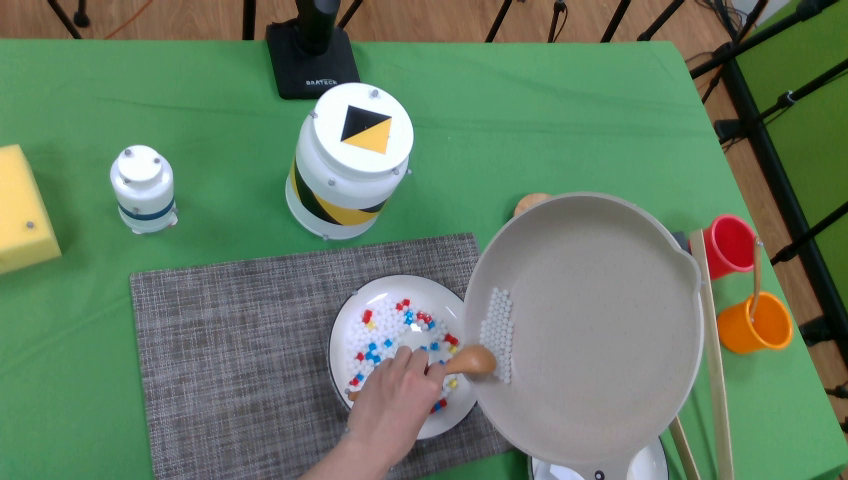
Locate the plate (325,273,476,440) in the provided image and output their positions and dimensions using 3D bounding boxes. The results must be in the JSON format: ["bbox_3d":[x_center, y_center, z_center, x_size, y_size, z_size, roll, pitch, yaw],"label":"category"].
[{"bbox_3d":[-0.023,0.144,0.762,0.210,0.038,0.207,8,67,-18],"label":"plate"}]

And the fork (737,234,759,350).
[{"bbox_3d":[0.499,0.082,0.927,0.028,0.018,0.209,-22,122,-19],"label":"fork"}]

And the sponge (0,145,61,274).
[{"bbox_3d":[-0.512,-0.010,0.628,0.207,0.061,0.117,-22,78,-28],"label":"sponge"}]

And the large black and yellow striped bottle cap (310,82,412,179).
[{"bbox_3d":[-0.069,-0.124,0.678,0.115,0.019,0.114,8,68,-19],"label":"large black and yellow striped bottle cap"}]

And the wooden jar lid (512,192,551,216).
[{"bbox_3d":[0.180,-0.021,0.921,0.109,0.021,0.107,7,68,-18],"label":"wooden jar lid"}]

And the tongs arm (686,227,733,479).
[{"bbox_3d":[0.418,0.171,0.894,0.028,0.027,0.386,3,78,-27],"label":"tongs arm"}]

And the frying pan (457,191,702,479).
[{"bbox_3d":[0.174,0.183,0.619,0.104,0.306,0.483,23,51,-38],"label":"frying pan"}]

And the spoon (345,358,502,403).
[{"bbox_3d":[0.005,0.163,0.680,0.194,0.022,0.041,-6,56,-23],"label":"spoon"}]

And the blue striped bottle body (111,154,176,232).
[{"bbox_3d":[-0.317,-0.059,0.688,0.063,0.121,0.062,8,67,-18],"label":"blue striped bottle body"}]

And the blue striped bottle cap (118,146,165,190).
[{"bbox_3d":[-0.300,-0.077,0.643,0.045,0.021,0.044,8,64,-15],"label":"blue striped bottle cap"}]

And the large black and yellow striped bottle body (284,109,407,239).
[{"bbox_3d":[-0.097,-0.092,0.750,0.131,0.184,0.130,8,66,-18],"label":"large black and yellow striped bottle body"}]

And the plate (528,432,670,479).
[{"bbox_3d":[0.227,0.295,0.803,0.208,0.039,0.206,8,66,-18],"label":"plate"}]

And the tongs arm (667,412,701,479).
[{"bbox_3d":[0.341,0.181,0.860,0.051,0.026,0.384,-13,85,-26],"label":"tongs arm"}]

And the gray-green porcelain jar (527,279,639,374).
[{"bbox_3d":[0.207,0.121,0.813,0.106,0.127,0.105,8,67,-17],"label":"gray-green porcelain jar"}]
